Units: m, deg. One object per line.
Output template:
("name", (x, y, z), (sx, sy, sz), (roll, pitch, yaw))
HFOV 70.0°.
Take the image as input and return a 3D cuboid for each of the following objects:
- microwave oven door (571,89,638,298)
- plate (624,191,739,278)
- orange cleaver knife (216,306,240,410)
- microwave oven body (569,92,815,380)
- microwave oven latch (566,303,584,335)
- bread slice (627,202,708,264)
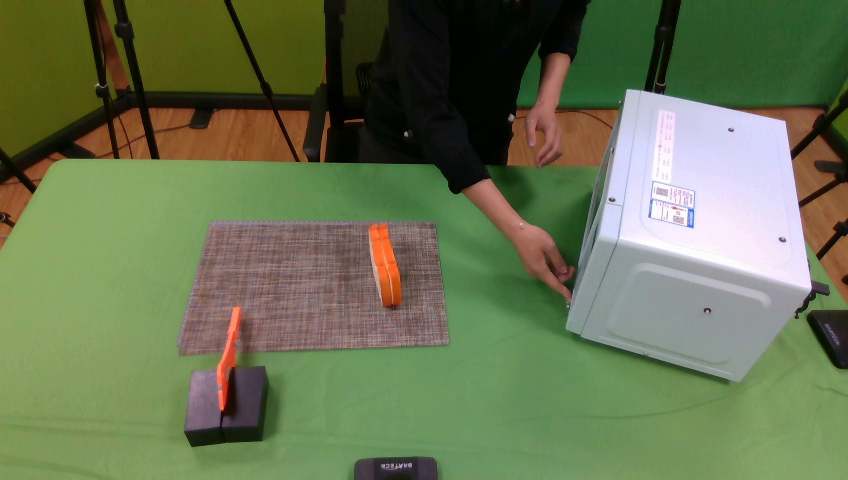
("microwave oven door", (0.343, -0.091, 1.133), (0.039, 0.245, 0.354), (15, 47, 10))
("plate", (0.482, -0.007, 1.148), (0.208, 0.039, 0.206), (0, 50, 0))
("orange cleaver knife", (-0.307, 0.180, 0.957), (0.012, 0.077, 0.210), (-2, 25, -8))
("microwave oven body", (0.468, -0.021, 1.082), (0.325, 0.261, 0.440), (15, 46, 11))
("microwave oven latch", (0.268, 0.126, 1.059), (0.030, 0.029, 0.079), (16, 46, 13))
("bread slice", (0.474, -0.020, 1.169), (0.134, 0.018, 0.106), (-31, 56, -16))
